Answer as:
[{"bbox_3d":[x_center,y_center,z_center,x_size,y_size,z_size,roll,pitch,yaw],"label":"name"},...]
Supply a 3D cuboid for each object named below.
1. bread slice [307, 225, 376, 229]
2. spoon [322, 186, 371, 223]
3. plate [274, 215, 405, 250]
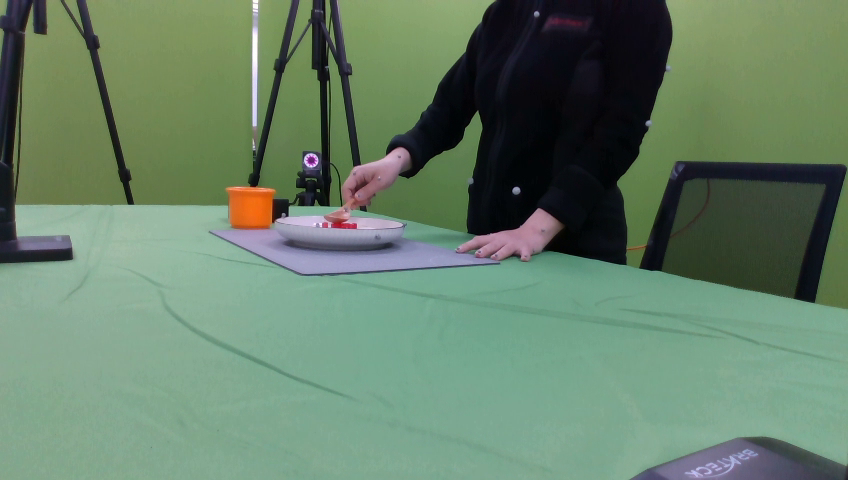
[{"bbox_3d":[-0.133,-0.011,0.974,0.135,0.018,0.106,-3,8,-33],"label":"bread slice"},{"bbox_3d":[-0.124,-0.065,1.041,0.041,0.021,0.194,10,26,12],"label":"spoon"},{"bbox_3d":[-0.136,-0.013,0.981,0.209,0.038,0.209,2,7,0],"label":"plate"}]
